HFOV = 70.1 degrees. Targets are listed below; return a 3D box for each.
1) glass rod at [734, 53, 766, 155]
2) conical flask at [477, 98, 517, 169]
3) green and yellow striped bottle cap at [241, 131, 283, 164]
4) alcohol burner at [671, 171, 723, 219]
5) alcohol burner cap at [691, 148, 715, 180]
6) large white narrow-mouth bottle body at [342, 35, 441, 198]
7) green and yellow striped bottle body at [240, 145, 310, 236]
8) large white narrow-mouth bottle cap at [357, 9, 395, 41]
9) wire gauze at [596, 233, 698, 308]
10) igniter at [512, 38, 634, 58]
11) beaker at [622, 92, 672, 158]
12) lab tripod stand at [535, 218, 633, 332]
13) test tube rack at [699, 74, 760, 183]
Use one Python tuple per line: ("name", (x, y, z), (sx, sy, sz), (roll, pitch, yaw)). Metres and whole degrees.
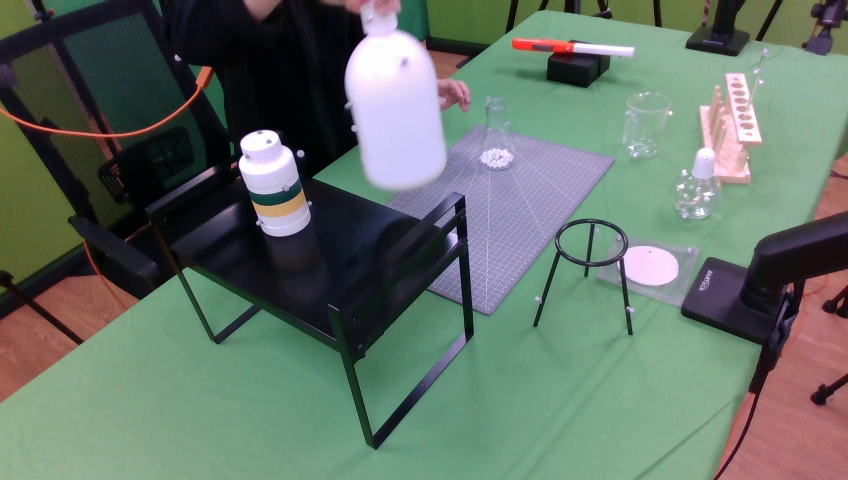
("glass rod", (0.540, -0.220, 1.007), (0.008, 0.201, 0.008), (-5, 45, 6))
("conical flask", (0.133, -0.198, 1.108), (0.075, 0.122, 0.075), (-4, 41, 4))
("green and yellow striped bottle cap", (-0.187, -0.107, 0.695), (0.045, 0.020, 0.045), (-3, 39, 3))
("alcohol burner", (0.434, -0.093, 0.955), (0.078, 0.119, 0.077), (-3, 43, 3))
("alcohol burner cap", (0.432, -0.120, 0.930), (0.034, 0.048, 0.033), (-7, 48, 8))
("large white narrow-mouth bottle body", (-0.038, -0.151, 0.671), (0.102, 0.195, 0.101), (-5, 36, 4))
("green and yellow striped bottle body", (-0.181, -0.069, 0.729), (0.063, 0.120, 0.063), (-4, 40, 4))
("large white narrow-mouth bottle cap", (-0.048, -0.220, 0.619), (0.038, 0.024, 0.037), (-5, 36, 4))
("wire gauze", (0.331, 0.037, 0.897), (0.124, 0.011, 0.121), (18, 47, 26))
("igniter", (0.328, -0.433, 1.360), (0.275, 0.025, 0.057), (12, 33, 20))
("beaker", (0.402, -0.210, 1.106), (0.074, 0.101, 0.083), (-8, 40, -2))
("lab tripod stand", (0.216, 0.050, 0.803), (0.148, 0.132, 0.147), (-4, 42, 4))
("test tube rack", (0.547, -0.208, 1.095), (0.066, 0.085, 0.242), (6, 42, 16))
